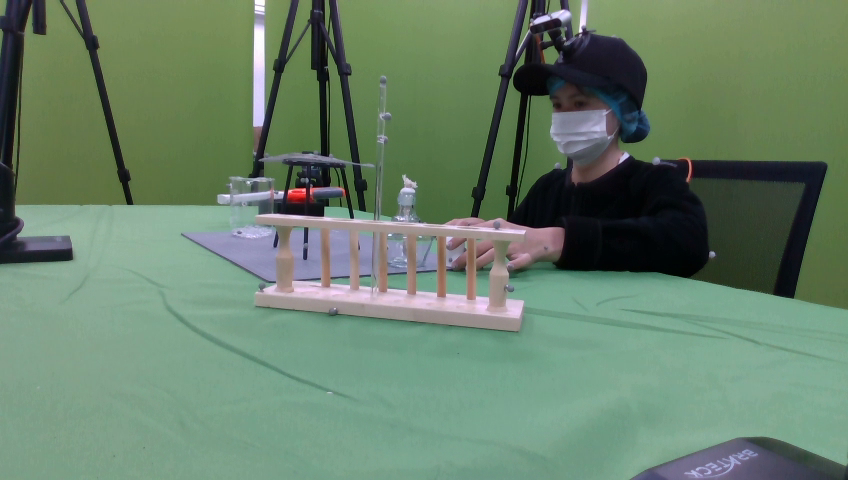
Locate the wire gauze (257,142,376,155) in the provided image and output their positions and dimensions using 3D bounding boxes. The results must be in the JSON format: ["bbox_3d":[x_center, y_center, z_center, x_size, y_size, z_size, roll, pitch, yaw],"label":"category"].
[{"bbox_3d":[-0.155,-0.130,0.871,0.124,0.011,0.122,-1,7,36],"label":"wire gauze"}]

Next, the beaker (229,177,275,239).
[{"bbox_3d":[-0.292,-0.056,1.023,0.074,0.100,0.083,-1,8,-26],"label":"beaker"}]

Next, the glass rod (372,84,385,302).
[{"bbox_3d":[-0.041,-0.041,0.548,0.008,0.199,0.008,2,2,0],"label":"glass rod"}]

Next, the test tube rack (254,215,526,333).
[{"bbox_3d":[-0.030,0.025,0.557,0.242,0.085,0.067,4,7,12],"label":"test tube rack"}]

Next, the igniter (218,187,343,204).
[{"bbox_3d":[-0.287,-0.093,1.257,0.278,0.025,0.057,-8,12,-41],"label":"igniter"}]

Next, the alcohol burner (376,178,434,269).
[{"bbox_3d":[-0.025,-0.022,0.800,0.078,0.119,0.078,1,6,0],"label":"alcohol burner"}]

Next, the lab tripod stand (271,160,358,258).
[{"bbox_3d":[-0.159,-0.048,0.876,0.148,0.131,0.148,3,5,0],"label":"lab tripod stand"}]

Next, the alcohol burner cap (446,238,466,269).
[{"bbox_3d":[0.040,0.016,0.812,0.034,0.048,0.034,1,5,0],"label":"alcohol burner cap"}]
